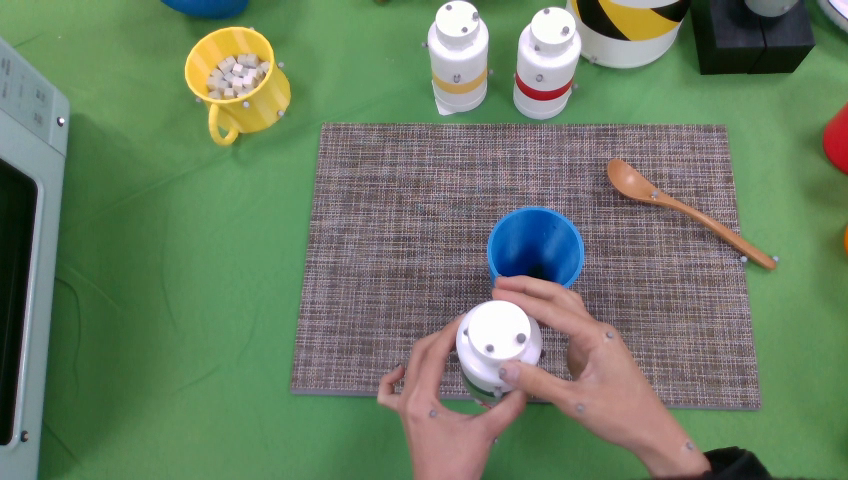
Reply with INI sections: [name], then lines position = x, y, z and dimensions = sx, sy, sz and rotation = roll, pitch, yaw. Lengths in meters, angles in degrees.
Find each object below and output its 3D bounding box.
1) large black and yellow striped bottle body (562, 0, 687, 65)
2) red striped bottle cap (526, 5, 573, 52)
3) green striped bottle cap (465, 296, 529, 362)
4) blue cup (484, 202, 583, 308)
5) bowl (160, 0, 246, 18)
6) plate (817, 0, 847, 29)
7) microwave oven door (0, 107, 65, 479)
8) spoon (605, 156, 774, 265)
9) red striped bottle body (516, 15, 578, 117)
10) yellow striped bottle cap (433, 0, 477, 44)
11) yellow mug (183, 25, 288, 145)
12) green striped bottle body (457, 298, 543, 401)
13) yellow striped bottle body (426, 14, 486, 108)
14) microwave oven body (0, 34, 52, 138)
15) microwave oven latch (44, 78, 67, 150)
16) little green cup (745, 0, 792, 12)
[large black and yellow striped bottle body]
position = 0.219, -0.288, 0.632
dimensions = 0.131, 0.185, 0.130
rotation = -1, 70, 4
[red striped bottle cap]
position = 0.122, -0.206, 0.588
dimensions = 0.044, 0.018, 0.044
rotation = 0, 69, 0
[green striped bottle cap]
position = 0.051, 0.061, 0.421
dimensions = 0.044, 0.020, 0.044
rotation = -1, 67, 3
[blue cup]
position = 0.097, 0.023, 0.572
dimensions = 0.092, 0.101, 0.092
rotation = -1, 70, 3
[bowl]
position = -0.263, -0.328, 0.738
dimensions = 0.151, 0.077, 0.150
rotation = -1, 71, 3
[plate]
position = 0.540, -0.303, 0.690
dimensions = 0.209, 0.038, 0.207
rotation = -1, 71, 4
[microwave oven door]
position = -0.410, 0.030, 0.519
dimensions = 0.039, 0.245, 0.353
rotation = -8, 70, 2
[spoon]
position = 0.270, -0.030, 0.620
dimensions = 0.193, 0.022, 0.041
rotation = 32, 51, 13
[red striped bottle body]
position = 0.128, -0.187, 0.638
dimensions = 0.063, 0.120, 0.062
rotation = -3, 68, 8
[yellow striped bottle cap]
position = 0.031, -0.217, 0.600
dimensions = 0.044, 0.019, 0.044
rotation = -1, 72, 3
[yellow mug]
position = -0.216, -0.169, 0.685
dimensions = 0.100, 0.064, 0.130
rotation = 11, 72, 7
[green striped bottle body]
position = 0.057, 0.085, 0.469
dimensions = 0.063, 0.120, 0.062
rotation = -2, 66, 4
[yellow striped bottle body]
position = 0.035, -0.200, 0.648
dimensions = 0.063, 0.121, 0.062
rotation = -2, 70, 5
[microwave oven body]
position = -0.559, 0.012, 0.541
dimensions = 0.326, 0.262, 0.438
rotation = -8, 71, 1
[microwave oven latch]
position = -0.427, -0.141, 0.687
dimensions = 0.030, 0.030, 0.078
rotation = -6, 71, 2
[little green cup]
position = 0.369, -0.274, 0.639
dimensions = 0.061, 0.039, 0.061
rotation = -1, 69, 3
